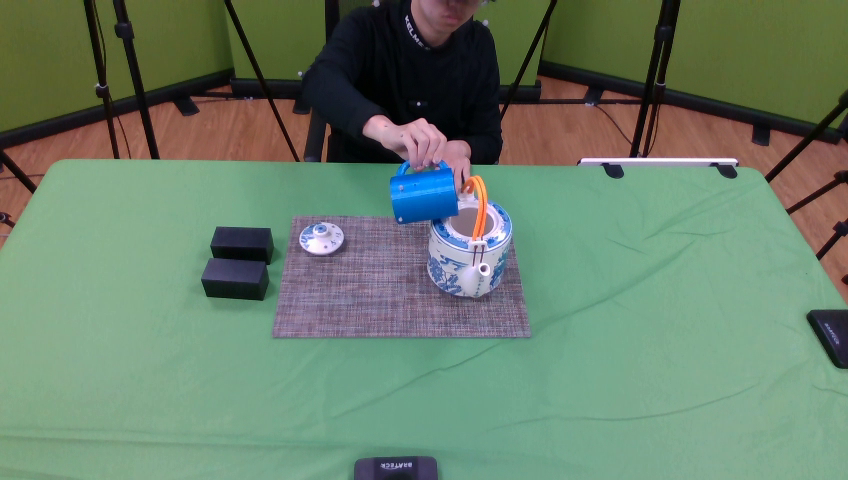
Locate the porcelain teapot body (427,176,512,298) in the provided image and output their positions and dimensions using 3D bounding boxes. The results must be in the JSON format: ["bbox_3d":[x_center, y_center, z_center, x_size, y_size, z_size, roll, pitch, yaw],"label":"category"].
[{"bbox_3d":[0.085,0.010,1.051,0.145,0.226,0.204,-5,47,-8],"label":"porcelain teapot body"}]

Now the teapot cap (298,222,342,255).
[{"bbox_3d":[-0.201,-0.008,1.171,0.085,0.044,0.084,1,47,-1],"label":"teapot cap"}]

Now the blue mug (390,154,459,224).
[{"bbox_3d":[-0.001,-0.090,1.022,0.106,0.082,0.116,-8,75,4],"label":"blue mug"}]
